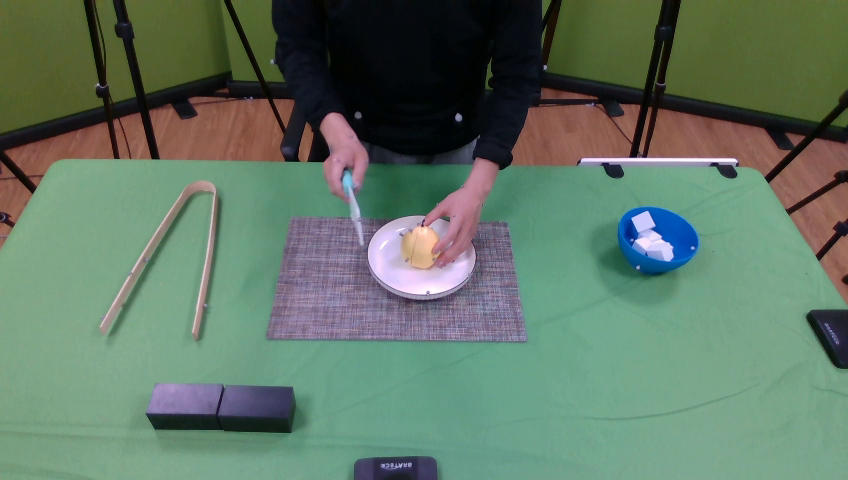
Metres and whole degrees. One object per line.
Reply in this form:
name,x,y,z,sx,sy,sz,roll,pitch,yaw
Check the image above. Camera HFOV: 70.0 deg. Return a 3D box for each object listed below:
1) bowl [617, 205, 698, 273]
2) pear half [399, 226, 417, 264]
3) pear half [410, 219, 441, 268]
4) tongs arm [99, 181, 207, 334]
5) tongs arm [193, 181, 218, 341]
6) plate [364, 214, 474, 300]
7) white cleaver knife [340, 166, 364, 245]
bowl,0.442,0.011,1.181,0.151,0.077,0.150,2,46,-2
pear half,-0.031,0.005,1.125,0.031,0.088,0.070,5,49,-1
pear half,0.005,0.002,1.117,0.056,0.110,0.076,5,50,0
tongs arm,-0.494,0.018,1.132,0.051,0.026,0.382,7,45,0
tongs arm,-0.413,0.025,1.140,0.028,0.028,0.385,-5,47,-7
plate,-0.010,0.036,1.146,0.208,0.039,0.206,2,46,-2
white cleaver knife,-0.119,-0.062,0.987,0.021,0.066,0.285,-6,21,-9
